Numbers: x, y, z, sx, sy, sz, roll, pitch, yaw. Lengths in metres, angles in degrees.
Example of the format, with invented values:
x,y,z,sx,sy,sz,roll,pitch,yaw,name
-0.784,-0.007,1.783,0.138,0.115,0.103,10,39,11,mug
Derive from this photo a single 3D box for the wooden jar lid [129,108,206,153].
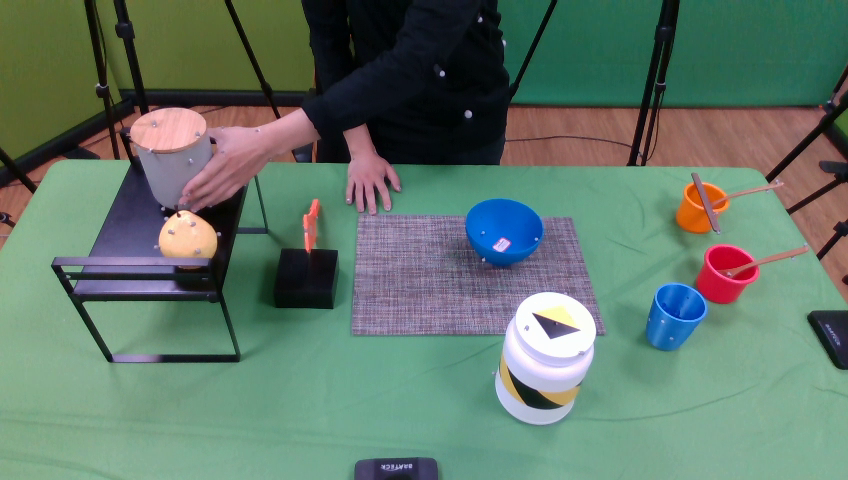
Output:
x,y,z,sx,sy,sz,roll,pitch,yaw,name
-0.384,-0.162,0.914,0.108,0.021,0.107,4,46,-4,wooden jar lid

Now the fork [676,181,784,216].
x,y,z,sx,sy,sz,roll,pitch,yaw,name
0.617,-0.083,1.235,0.019,0.207,0.028,55,40,-15,fork

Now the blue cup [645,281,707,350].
x,y,z,sx,sy,sz,roll,pitch,yaw,name
0.425,0.136,1.042,0.092,0.101,0.092,1,45,-1,blue cup

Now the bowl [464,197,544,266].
x,y,z,sx,sy,sz,roll,pitch,yaw,name
0.149,-0.004,1.168,0.151,0.077,0.150,2,46,-2,bowl

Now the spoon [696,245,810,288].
x,y,z,sx,sy,sz,roll,pitch,yaw,name
0.601,0.047,1.114,0.193,0.022,0.041,-26,36,33,spoon

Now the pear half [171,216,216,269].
x,y,z,sx,sy,sz,roll,pitch,yaw,name
-0.323,0.007,0.867,0.031,0.088,0.070,25,46,21,pear half

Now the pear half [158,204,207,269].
x,y,z,sx,sy,sz,roll,pitch,yaw,name
-0.352,-0.015,0.873,0.056,0.110,0.076,25,45,20,pear half

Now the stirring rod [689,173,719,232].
x,y,z,sx,sy,sz,roll,pitch,yaw,name
0.565,-0.079,1.225,0.014,0.006,0.175,2,45,2,stirring rod

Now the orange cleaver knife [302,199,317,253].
x,y,z,sx,sy,sz,roll,pitch,yaw,name
-0.219,-0.031,1.168,0.012,0.077,0.210,-5,17,-3,orange cleaver knife

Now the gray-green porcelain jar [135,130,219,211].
x,y,z,sx,sy,sz,roll,pitch,yaw,name
-0.387,-0.118,0.959,0.106,0.127,0.105,2,46,-2,gray-green porcelain jar

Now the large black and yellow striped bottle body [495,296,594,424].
x,y,z,sx,sy,sz,roll,pitch,yaw,name
0.183,0.182,0.923,0.131,0.185,0.130,2,46,-2,large black and yellow striped bottle body

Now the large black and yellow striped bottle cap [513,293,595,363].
x,y,z,sx,sy,sz,roll,pitch,yaw,name
0.185,0.123,0.863,0.115,0.019,0.114,3,45,-3,large black and yellow striped bottle cap
